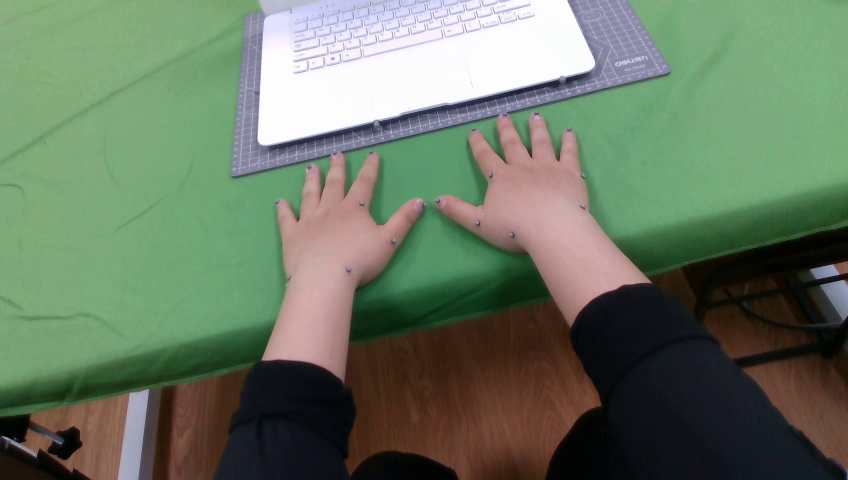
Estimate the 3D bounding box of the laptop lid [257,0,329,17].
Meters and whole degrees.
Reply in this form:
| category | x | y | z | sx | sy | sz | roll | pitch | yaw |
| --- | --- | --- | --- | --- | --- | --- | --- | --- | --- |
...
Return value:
| category | x | y | z | sx | sy | sz | roll | pitch | yaw |
| --- | --- | --- | --- | --- | --- | --- | --- | --- | --- |
| laptop lid | -0.052 | -0.394 | 0.671 | 0.356 | 0.244 | 0.013 | -13 | 44 | 5 |

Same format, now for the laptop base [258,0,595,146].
| category | x | y | z | sx | sy | sz | roll | pitch | yaw |
| --- | --- | --- | --- | --- | --- | --- | --- | --- | --- |
| laptop base | -0.013 | -0.220 | 0.682 | 0.354 | 0.023 | 0.233 | -12 | 55 | 4 |
